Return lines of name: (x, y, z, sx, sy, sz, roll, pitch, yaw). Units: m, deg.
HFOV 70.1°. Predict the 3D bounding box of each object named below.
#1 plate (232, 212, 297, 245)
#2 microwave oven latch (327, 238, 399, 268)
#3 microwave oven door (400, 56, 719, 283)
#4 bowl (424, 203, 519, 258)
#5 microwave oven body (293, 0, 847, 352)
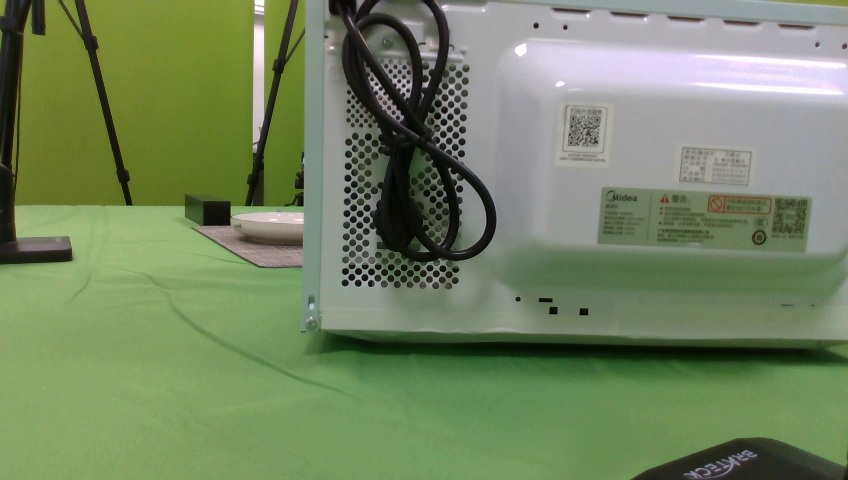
plate: (-0.214, -0.019, 1.018, 0.208, 0.039, 0.207, 3, 7, 0)
microwave oven latch: (-0.069, 0.015, 0.694, 0.079, 0.029, 0.030, 3, 7, -3)
microwave oven door: (0.155, -0.077, 0.698, 0.356, 0.243, 0.039, 2, 8, -5)
bowl: (0.073, -0.015, 0.962, 0.151, 0.077, 0.151, 3, 8, 0)
microwave oven body: (0.122, -0.055, 0.550, 0.442, 0.260, 0.325, 3, 7, -5)
